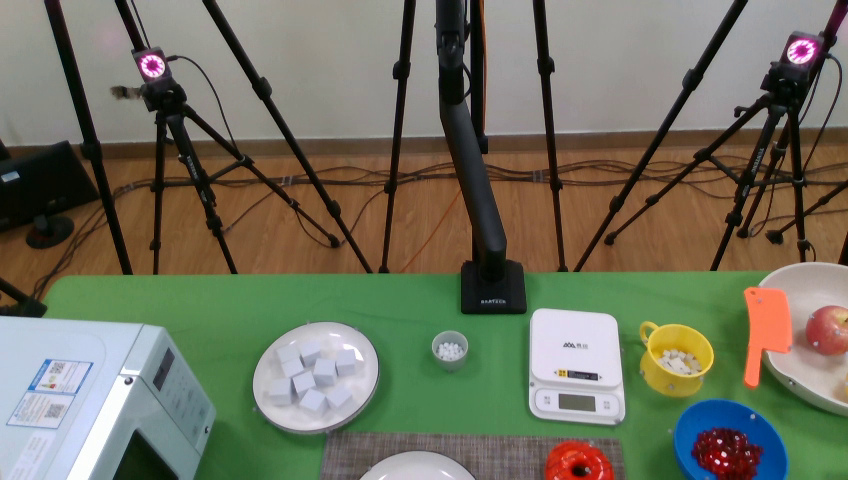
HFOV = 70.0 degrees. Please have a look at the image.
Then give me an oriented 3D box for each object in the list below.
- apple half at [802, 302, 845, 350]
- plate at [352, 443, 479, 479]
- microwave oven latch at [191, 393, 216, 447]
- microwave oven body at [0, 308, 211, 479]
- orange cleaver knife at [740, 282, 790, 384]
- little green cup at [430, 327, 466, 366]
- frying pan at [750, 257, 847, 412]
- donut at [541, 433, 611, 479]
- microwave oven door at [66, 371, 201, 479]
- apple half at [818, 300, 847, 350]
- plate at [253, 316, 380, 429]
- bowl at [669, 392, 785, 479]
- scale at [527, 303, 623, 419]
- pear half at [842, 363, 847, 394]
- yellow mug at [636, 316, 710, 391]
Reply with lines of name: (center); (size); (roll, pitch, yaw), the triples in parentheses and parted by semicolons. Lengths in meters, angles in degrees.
apple half: (0.643, 0.145, 0.991); (0.033, 0.082, 0.080); (-4, 47, -5)
plate: (-0.012, 0.387, 0.838); (0.209, 0.038, 0.207); (-2, 48, 3)
microwave oven latch: (-0.348, 0.278, 0.940); (0.030, 0.030, 0.078); (4, 48, 6)
microwave oven body: (-0.519, 0.336, 0.766); (0.326, 0.262, 0.437); (3, 48, 5)
orange cleaver knife: (0.540, 0.143, 0.962); (0.077, 0.012, 0.210); (14, 51, 17)
little green cup: (0.042, 0.182, 1.029); (0.061, 0.039, 0.061); (-2, 47, 3)
frying pan: (0.714, 0.213, 0.911); (0.307, 0.104, 0.482); (-20, 41, -13)
donut: (0.218, 0.327, 0.875); (0.099, 0.049, 0.098); (-3, 48, 4)
microwave oven door: (-0.378, 0.369, 0.719); (0.039, 0.246, 0.352); (2, 48, 6)
apple half: (0.681, 0.141, 0.994); (0.053, 0.075, 0.080); (-5, 44, -5)
plate: (-0.175, 0.221, 1.007); (0.207, 0.039, 0.205); (-2, 47, 2)
bowl: (0.421, 0.303, 0.866); (0.151, 0.077, 0.150); (-2, 48, 2)
scale: (0.248, 0.196, 1.007); (0.148, 0.032, 0.199); (3, 48, 7)
pear half: (0.676, 0.208, 0.908); (0.075, 0.111, 0.056); (29, 55, 31)
yellow mug: (0.395, 0.176, 0.992); (0.100, 0.064, 0.129); (-25, 50, -17)
